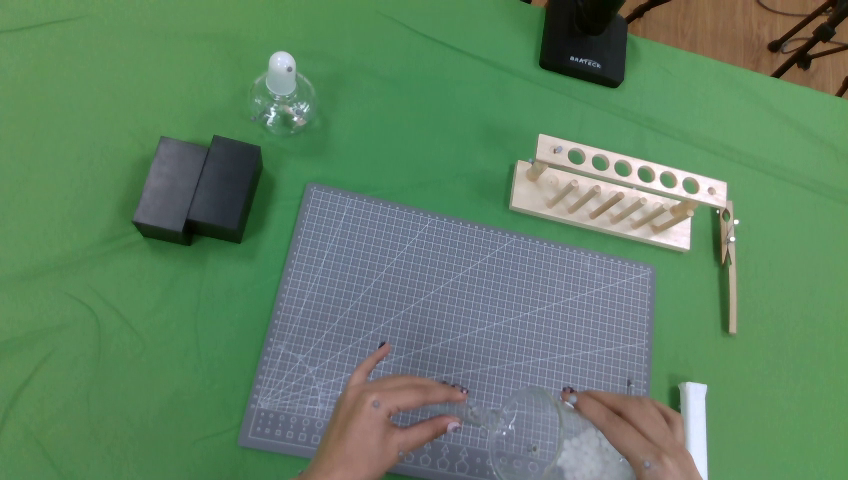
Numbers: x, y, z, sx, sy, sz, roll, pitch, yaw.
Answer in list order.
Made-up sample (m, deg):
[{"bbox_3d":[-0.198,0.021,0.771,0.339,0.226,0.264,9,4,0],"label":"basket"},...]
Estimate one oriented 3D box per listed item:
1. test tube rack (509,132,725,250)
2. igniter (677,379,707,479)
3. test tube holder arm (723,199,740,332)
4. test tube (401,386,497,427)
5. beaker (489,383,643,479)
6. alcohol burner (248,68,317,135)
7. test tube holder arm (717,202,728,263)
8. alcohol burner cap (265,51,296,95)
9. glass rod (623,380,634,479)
[{"bbox_3d":[0.237,-0.057,0.750,0.243,0.085,0.066,13,71,-8],"label":"test tube rack"},{"bbox_3d":[0.306,0.299,0.688,0.057,0.025,0.275,13,70,-18],"label":"igniter"},{"bbox_3d":[0.402,0.031,0.793,0.013,0.015,0.177,-5,71,24],"label":"test tube holder arm"},{"bbox_3d":[0.017,0.147,0.544,0.017,0.149,0.017,3,84,-29],"label":"test tube"},{"bbox_3d":[0.110,0.161,0.466,0.101,0.083,0.074,28,77,-26],"label":"beaker"},{"bbox_3d":[-0.160,-0.170,0.683,0.078,0.119,0.077,3,70,-9],"label":"alcohol burner"},{"bbox_3d":[0.399,-0.012,0.809,0.010,0.015,0.087,-4,71,25],"label":"test tube holder arm"},{"bbox_3d":[-0.152,-0.183,0.650,0.034,0.048,0.033,7,66,-17],"label":"alcohol burner cap"},{"bbox_3d":[0.231,0.260,0.690,0.008,0.008,0.198,13,71,-8],"label":"glass rod"}]
